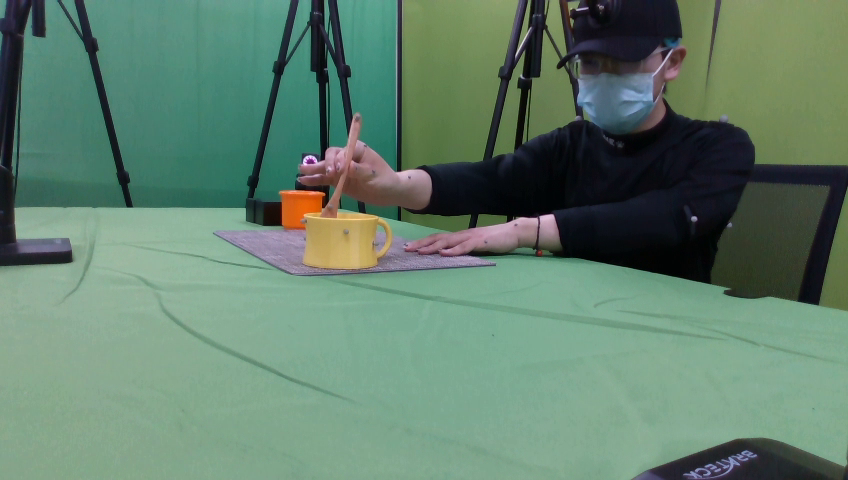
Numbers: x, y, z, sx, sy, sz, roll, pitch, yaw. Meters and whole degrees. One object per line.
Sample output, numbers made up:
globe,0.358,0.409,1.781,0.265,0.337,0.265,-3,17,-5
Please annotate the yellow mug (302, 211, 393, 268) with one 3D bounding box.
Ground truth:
yellow mug,-0.098,-0.003,0.810,0.131,0.064,0.099,-2,8,-37

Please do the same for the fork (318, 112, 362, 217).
fork,-0.114,-0.082,0.812,0.028,0.207,0.018,22,-16,-25
